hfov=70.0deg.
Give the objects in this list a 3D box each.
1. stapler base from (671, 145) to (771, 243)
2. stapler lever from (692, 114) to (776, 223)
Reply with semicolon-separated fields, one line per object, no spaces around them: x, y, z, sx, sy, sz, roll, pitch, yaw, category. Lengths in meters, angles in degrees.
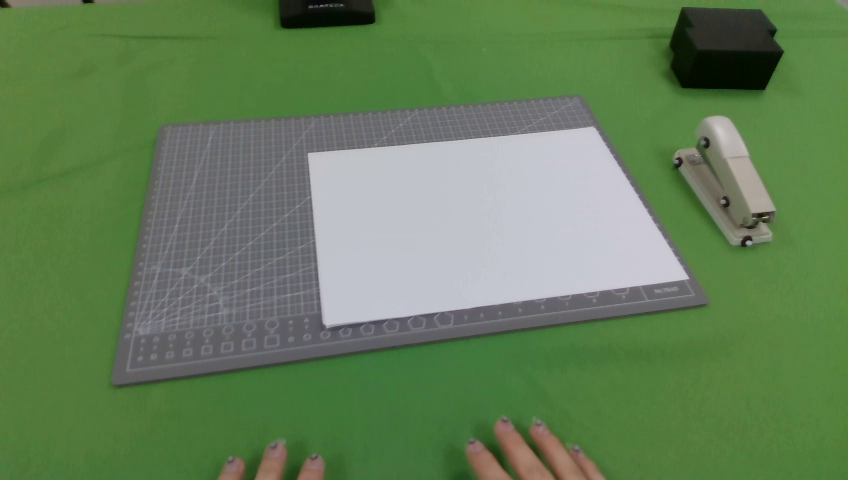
0.279;-0.052;0.569;0.041;0.024;0.129;-8;50;-7;stapler base
0.280;-0.068;0.549;0.027;0.040;0.117;-8;50;-7;stapler lever
